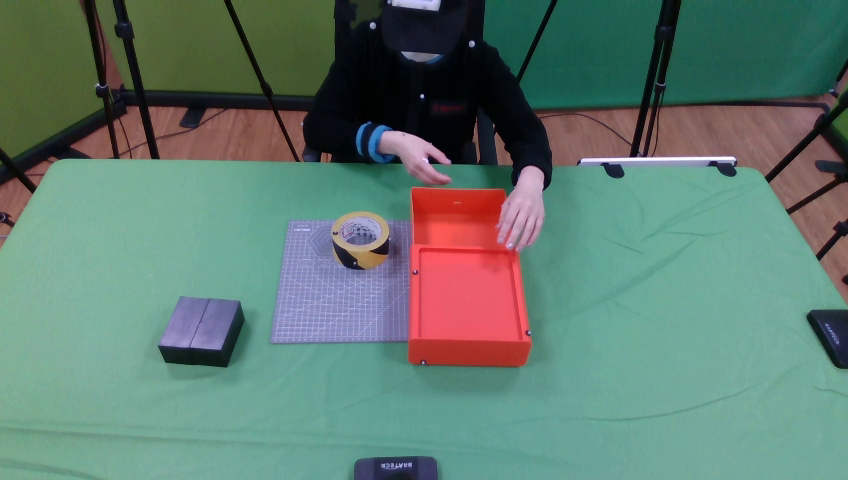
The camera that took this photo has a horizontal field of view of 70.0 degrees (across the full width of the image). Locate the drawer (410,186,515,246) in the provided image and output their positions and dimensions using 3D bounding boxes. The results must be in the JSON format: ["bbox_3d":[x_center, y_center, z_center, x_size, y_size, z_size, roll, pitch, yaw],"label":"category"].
[{"bbox_3d":[0.071,-0.011,1.173,0.195,0.073,0.210,2,45,-4],"label":"drawer"}]

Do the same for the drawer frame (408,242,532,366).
[{"bbox_3d":[0.073,0.107,1.053,0.202,0.083,0.212,2,47,-3],"label":"drawer frame"}]

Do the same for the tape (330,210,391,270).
[{"bbox_3d":[-0.123,-0.002,1.164,0.117,0.053,0.116,3,46,-3],"label":"tape"}]
